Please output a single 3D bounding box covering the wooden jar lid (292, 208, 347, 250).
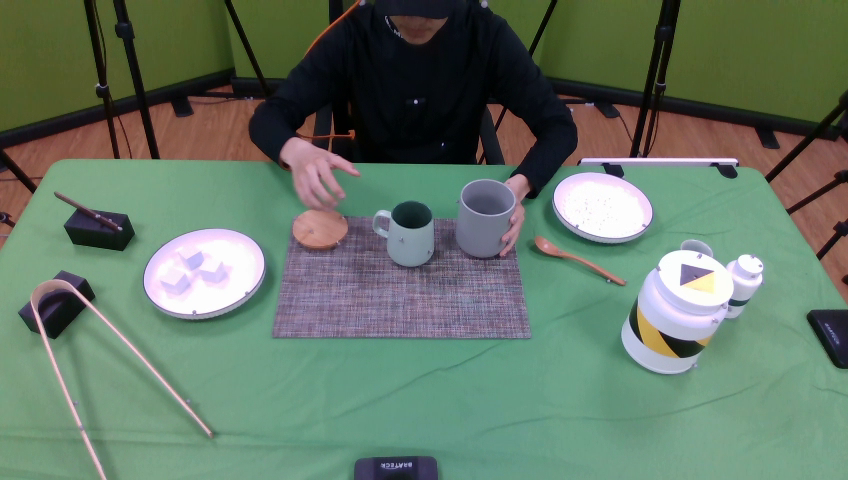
[{"bbox_3d":[-0.205,-0.020,1.197,0.108,0.021,0.107,3,46,-3],"label":"wooden jar lid"}]

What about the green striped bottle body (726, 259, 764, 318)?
[{"bbox_3d":[0.563,0.081,1.089,0.063,0.120,0.063,2,46,-2],"label":"green striped bottle body"}]

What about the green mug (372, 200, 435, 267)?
[{"bbox_3d":[-0.040,-0.016,1.146,0.125,0.105,0.092,17,48,13],"label":"green mug"}]

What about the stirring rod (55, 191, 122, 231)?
[{"bbox_3d":[-0.632,-0.055,1.138,0.175,0.014,0.006,24,50,19],"label":"stirring rod"}]

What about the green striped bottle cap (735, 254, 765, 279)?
[{"bbox_3d":[0.566,0.046,1.051,0.044,0.020,0.044,0,45,0],"label":"green striped bottle cap"}]

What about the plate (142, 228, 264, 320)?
[{"bbox_3d":[-0.394,0.064,1.095,0.208,0.039,0.206,2,46,-2],"label":"plate"}]

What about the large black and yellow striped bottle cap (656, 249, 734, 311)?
[{"bbox_3d":[0.419,0.061,0.938,0.115,0.019,0.114,2,47,-2],"label":"large black and yellow striped bottle cap"}]

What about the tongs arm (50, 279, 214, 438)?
[{"bbox_3d":[-0.459,0.178,0.949,0.386,0.028,0.028,37,60,17],"label":"tongs arm"}]

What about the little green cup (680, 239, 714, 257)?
[{"bbox_3d":[0.530,0.033,1.189,0.061,0.039,0.061,2,47,-2],"label":"little green cup"}]

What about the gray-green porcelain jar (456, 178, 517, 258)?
[{"bbox_3d":[0.116,-0.037,1.162,0.106,0.127,0.105,2,46,-2],"label":"gray-green porcelain jar"}]

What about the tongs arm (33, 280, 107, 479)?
[{"bbox_3d":[-0.517,0.214,0.910,0.051,0.026,0.383,-28,63,-27],"label":"tongs arm"}]

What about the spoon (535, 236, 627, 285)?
[{"bbox_3d":[0.303,0.040,1.178,0.193,0.022,0.041,25,33,20],"label":"spoon"}]

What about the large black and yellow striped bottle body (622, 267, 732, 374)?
[{"bbox_3d":[0.415,0.119,0.997,0.131,0.185,0.130,2,46,-2],"label":"large black and yellow striped bottle body"}]

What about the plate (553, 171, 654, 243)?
[{"bbox_3d":[0.373,-0.066,1.275,0.209,0.038,0.208,2,46,-2],"label":"plate"}]
